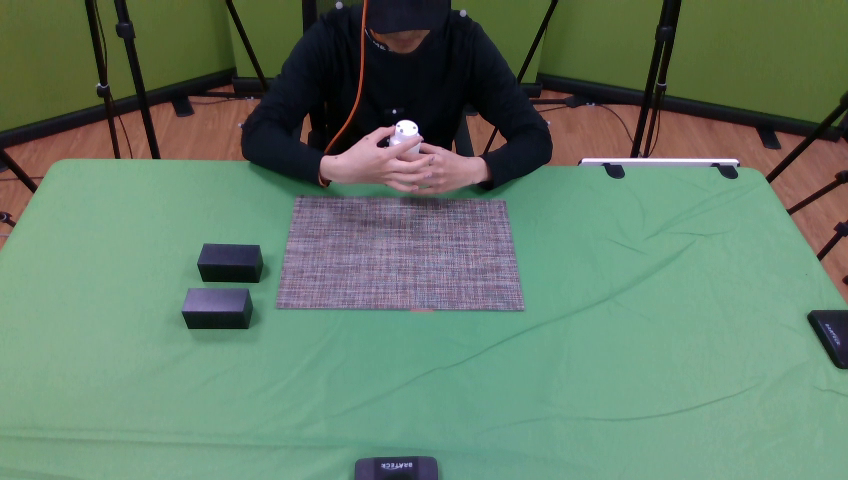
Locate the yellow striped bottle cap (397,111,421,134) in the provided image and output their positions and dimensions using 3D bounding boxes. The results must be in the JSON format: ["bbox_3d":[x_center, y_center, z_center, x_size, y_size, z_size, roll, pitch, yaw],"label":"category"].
[{"bbox_3d":[-0.028,-0.224,1.157,0.044,0.019,0.044,10,52,-12],"label":"yellow striped bottle cap"}]

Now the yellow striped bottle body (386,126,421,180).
[{"bbox_3d":[-0.041,-0.183,1.220,0.063,0.121,0.062,5,54,-6],"label":"yellow striped bottle body"}]
